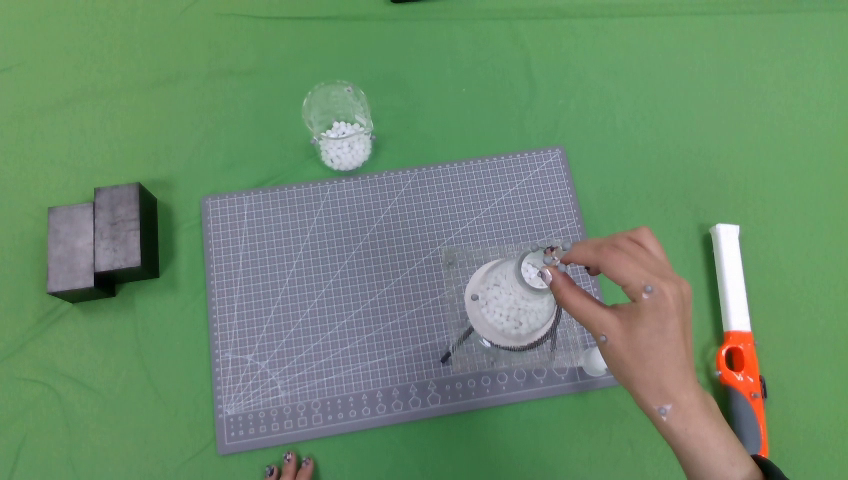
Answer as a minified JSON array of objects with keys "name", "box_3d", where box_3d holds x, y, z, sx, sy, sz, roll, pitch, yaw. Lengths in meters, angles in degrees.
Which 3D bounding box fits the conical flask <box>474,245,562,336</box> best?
[{"name":"conical flask","box_3d":[0.085,0.038,0.513,0.075,0.122,0.075,1,74,-2]}]

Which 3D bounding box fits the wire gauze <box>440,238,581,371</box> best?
[{"name":"wire gauze","box_3d":[0.080,0.060,0.568,0.125,0.011,0.121,-3,76,-4]}]

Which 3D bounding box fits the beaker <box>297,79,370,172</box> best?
[{"name":"beaker","box_3d":[-0.099,-0.129,0.711,0.084,0.101,0.074,26,74,6]}]

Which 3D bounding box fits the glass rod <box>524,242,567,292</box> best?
[{"name":"glass rod","box_3d":[0.091,0.025,0.470,0.008,0.200,0.008,-1,78,3]}]

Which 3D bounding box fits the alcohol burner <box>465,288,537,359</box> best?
[{"name":"alcohol burner","box_3d":[0.083,0.085,0.640,0.078,0.120,0.077,0,73,1]}]

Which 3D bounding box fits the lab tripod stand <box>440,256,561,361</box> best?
[{"name":"lab tripod stand","box_3d":[0.082,0.081,0.631,0.148,0.132,0.147,0,75,-1]}]

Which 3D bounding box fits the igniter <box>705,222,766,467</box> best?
[{"name":"igniter","box_3d":[0.352,0.112,0.688,0.057,0.025,0.275,5,73,-11]}]

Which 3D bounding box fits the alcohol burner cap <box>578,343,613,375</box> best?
[{"name":"alcohol burner cap","box_3d":[0.192,0.129,0.667,0.034,0.048,0.033,0,73,-1]}]
